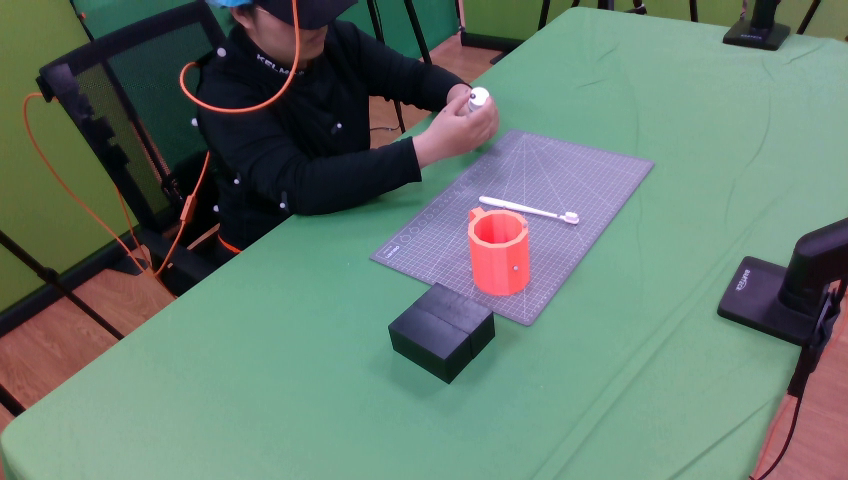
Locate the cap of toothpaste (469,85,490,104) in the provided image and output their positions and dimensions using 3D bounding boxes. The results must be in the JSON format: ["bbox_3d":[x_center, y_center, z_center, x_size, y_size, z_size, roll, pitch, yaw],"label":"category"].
[{"bbox_3d":[0.095,-0.247,1.036,0.037,0.011,0.037,1,73,-2],"label":"cap of toothpaste"}]

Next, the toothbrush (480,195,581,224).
[{"bbox_3d":[0.175,-0.054,1.016,0.180,0.017,0.014,15,58,28],"label":"toothbrush"}]

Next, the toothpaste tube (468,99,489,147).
[{"bbox_3d":[0.098,-0.228,1.113,0.034,0.165,0.055,29,77,8],"label":"toothpaste tube"}]

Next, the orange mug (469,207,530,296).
[{"bbox_3d":[0.104,0.008,0.894,0.084,0.101,0.125,-22,46,-14],"label":"orange mug"}]
